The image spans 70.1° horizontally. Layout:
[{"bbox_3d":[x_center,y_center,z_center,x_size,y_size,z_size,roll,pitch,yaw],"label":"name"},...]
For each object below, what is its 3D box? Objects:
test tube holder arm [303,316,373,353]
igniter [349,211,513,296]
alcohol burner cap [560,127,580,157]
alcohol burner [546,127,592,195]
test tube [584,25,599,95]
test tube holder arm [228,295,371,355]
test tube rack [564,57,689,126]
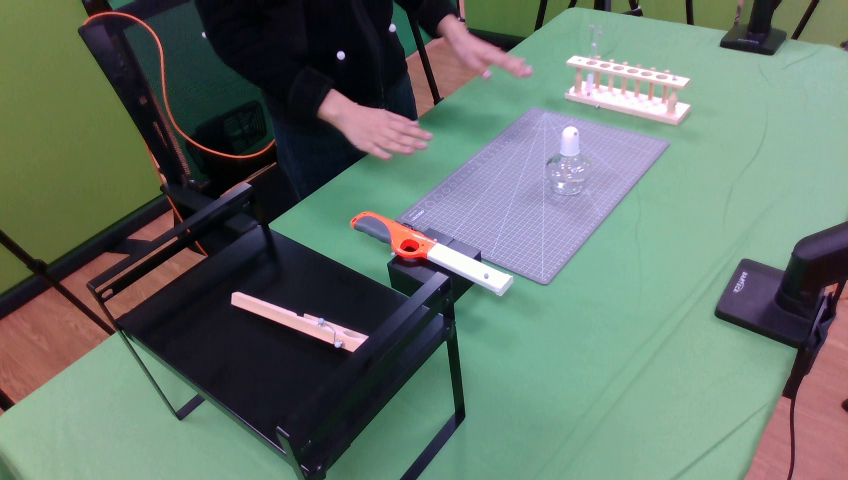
[{"bbox_3d":[-0.089,0.094,0.604,0.087,0.015,0.010,14,6,26],"label":"test tube holder arm"},{"bbox_3d":[0.003,0.013,0.881,0.274,0.025,0.057,24,52,28],"label":"igniter"},{"bbox_3d":[0.242,-0.165,1.001,0.034,0.048,0.033,-4,38,4],"label":"alcohol burner cap"},{"bbox_3d":[0.246,-0.137,1.024,0.078,0.119,0.077,-4,38,4],"label":"alcohol burner"},{"bbox_3d":[0.339,-0.361,1.224,0.017,0.151,0.017,-4,45,4],"label":"test tube"},{"bbox_3d":[-0.132,0.084,0.617,0.177,0.015,0.013,14,6,24],"label":"test tube holder arm"},{"bbox_3d":[0.411,-0.311,1.230,0.240,0.085,0.067,23,49,32],"label":"test tube rack"}]
